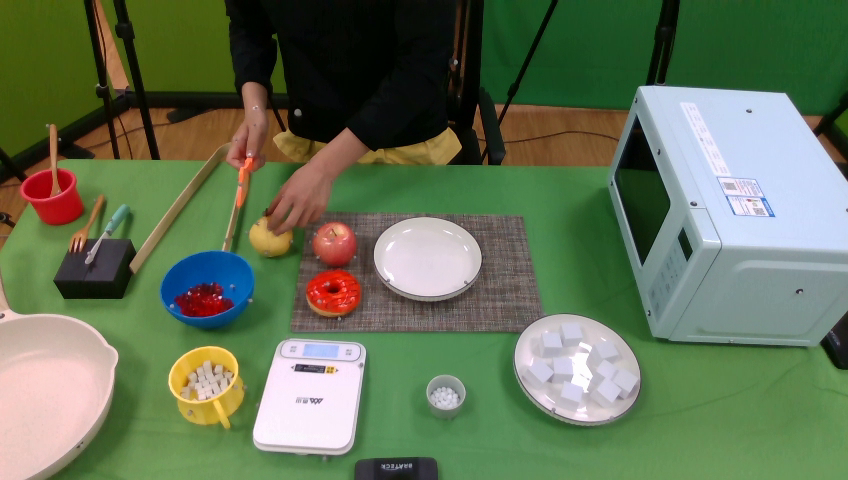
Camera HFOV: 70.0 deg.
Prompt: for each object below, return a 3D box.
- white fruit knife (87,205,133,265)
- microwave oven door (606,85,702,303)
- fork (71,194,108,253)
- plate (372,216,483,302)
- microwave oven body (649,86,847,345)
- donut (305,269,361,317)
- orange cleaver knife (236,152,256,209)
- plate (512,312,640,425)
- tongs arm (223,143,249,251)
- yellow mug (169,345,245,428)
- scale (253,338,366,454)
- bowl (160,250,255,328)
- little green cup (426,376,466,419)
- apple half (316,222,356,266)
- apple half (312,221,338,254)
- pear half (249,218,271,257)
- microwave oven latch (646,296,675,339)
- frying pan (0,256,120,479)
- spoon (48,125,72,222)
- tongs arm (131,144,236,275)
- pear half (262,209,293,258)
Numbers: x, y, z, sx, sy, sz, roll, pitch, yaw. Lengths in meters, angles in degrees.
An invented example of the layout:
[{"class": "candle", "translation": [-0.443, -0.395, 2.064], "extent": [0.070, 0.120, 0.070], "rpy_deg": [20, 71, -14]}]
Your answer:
[{"class": "white fruit knife", "translation": [-0.584, -0.013, 1.129], "extent": [0.016, 0.027, 0.206], "rpy_deg": [-1, 32, -4]}, {"class": "microwave oven door", "translation": [0.422, -0.094, 1.140], "extent": [0.039, 0.245, 0.353], "rpy_deg": [2, 46, -1]}, {"class": "fork", "translation": [-0.634, -0.036, 1.158], "extent": [0.028, 0.019, 0.206], "rpy_deg": [-7, 31, -8]}, {"class": "plate", "translation": [0.006, 0.038, 1.145], "extent": [0.209, 0.038, 0.208], "rpy_deg": [2, 46, -2]}, {"class": "microwave oven body", "translation": [0.567, -0.053, 1.118], "extent": [0.326, 0.261, 0.439], "rpy_deg": [2, 45, -1]}, {"class": "donut", "translation": [-0.160, 0.094, 1.075], "extent": [0.099, 0.048, 0.098], "rpy_deg": [3, 46, -3]}, {"class": "orange cleaver knife", "translation": [-0.320, -0.111, 1.089], "extent": [0.012, 0.077, 0.210], "rpy_deg": [8, 18, -12]}, {"class": "plate", "translation": [0.246, 0.213, 0.999], "extent": [0.208, 0.039, 0.206], "rpy_deg": [2, 46, -2]}, {"class": "tongs arm", "translation": [-0.397, -0.073, 1.232], "extent": [0.051, 0.027, 0.382], "rpy_deg": [-3, 45, 1]}, {"class": "yellow mug", "translation": [-0.322, 0.230, 0.922], "extent": [0.100, 0.064, 0.130], "rpy_deg": [-24, 53, -25]}, {"class": "scale", "translation": [-0.175, 0.236, 0.951], "extent": [0.149, 0.032, 0.199], "rpy_deg": [4, 45, 0]}, {"class": "bowl", "translation": [-0.362, 0.098, 1.040], "extent": [0.151, 0.077, 0.150], "rpy_deg": [2, 45, -2]}, {"class": "little green cup", "translation": [0.033, 0.248, 0.950], "extent": [0.061, 0.039, 0.061], "rpy_deg": [2, 46, -2]}, {"class": "apple half", "translation": [-0.157, 0.015, 1.132], "extent": [0.053, 0.075, 0.080], "rpy_deg": [28, 48, 18]}, {"class": "apple half", "translation": [-0.189, -0.002, 1.144], "extent": [0.032, 0.081, 0.081], "rpy_deg": [28, 50, 18]}, {"class": "pear half", "translation": [-0.310, -0.004, 1.133], "extent": [0.031, 0.088, 0.070], "rpy_deg": [-22, 54, -26]}, {"class": "microwave oven latch", "translation": [0.412, 0.134, 1.061], "extent": [0.030, 0.029, 0.078], "rpy_deg": [4, 45, 1]}, {"class": "frying pan", "translation": [-0.647, 0.164, 0.936], "extent": [0.307, 0.103, 0.485], "rpy_deg": [-19, 58, -22]}, {"class": "spoon", "translation": [-0.718, -0.131, 1.189], "extent": [0.041, 0.021, 0.193], "rpy_deg": [-3, 90, -7]}, {"class": "tongs arm", "translation": [-0.483, -0.076, 1.236], "extent": [0.028, 0.028, 0.385], "rpy_deg": [5, 45, 14]}, {"class": "pear half", "translation": [-0.277, -0.022, 1.139], "extent": [0.056, 0.110, 0.076], "rpy_deg": [-23, 55, -22]}]
